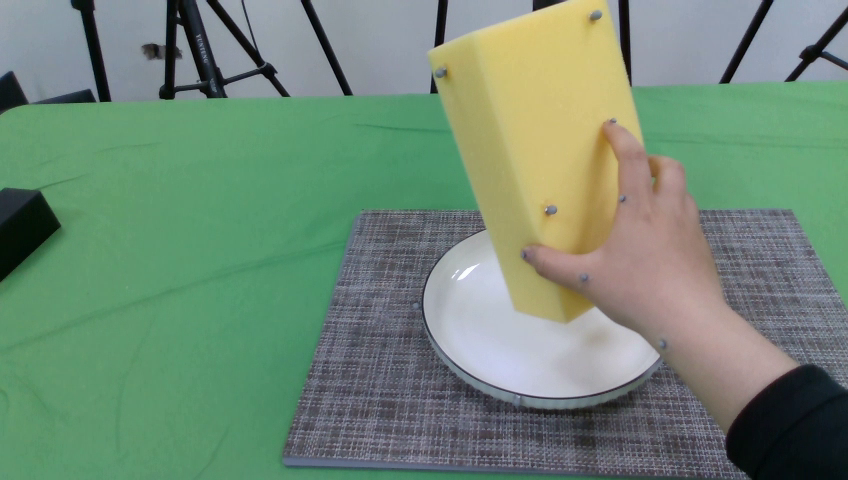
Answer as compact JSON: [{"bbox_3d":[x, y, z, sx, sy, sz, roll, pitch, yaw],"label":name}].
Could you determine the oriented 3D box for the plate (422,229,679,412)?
[{"bbox_3d":[0.103,0.061,0.513,0.207,0.039,0.205,-4,40,3],"label":"plate"}]

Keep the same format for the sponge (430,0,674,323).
[{"bbox_3d":[0.099,-0.058,0.445,0.118,0.208,0.060,-28,16,-24],"label":"sponge"}]
